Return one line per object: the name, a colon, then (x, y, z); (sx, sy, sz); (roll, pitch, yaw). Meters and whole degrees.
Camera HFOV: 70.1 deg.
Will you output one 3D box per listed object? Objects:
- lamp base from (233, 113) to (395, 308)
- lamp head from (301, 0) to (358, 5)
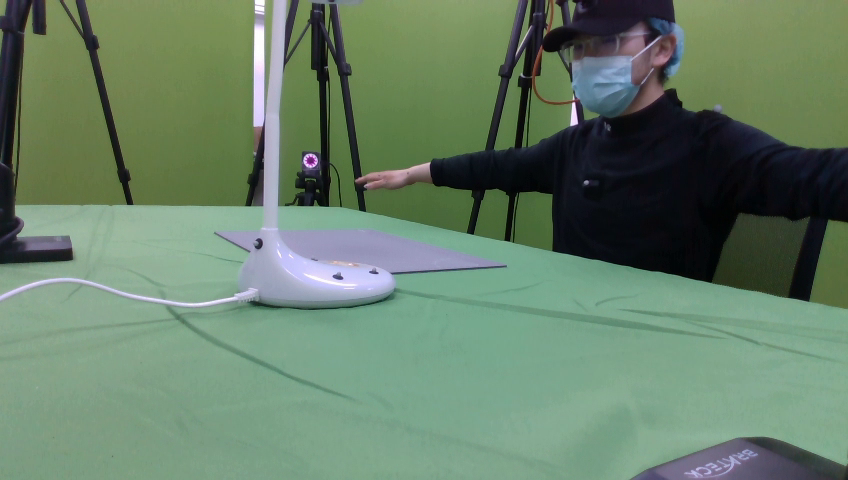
lamp base: (-0.113, -0.033, 0.600); (0.160, 0.180, 0.180); (6, 11, 28)
lamp head: (-0.095, -0.314, 0.610); (0.112, 0.123, 0.112); (-4, 50, 5)
